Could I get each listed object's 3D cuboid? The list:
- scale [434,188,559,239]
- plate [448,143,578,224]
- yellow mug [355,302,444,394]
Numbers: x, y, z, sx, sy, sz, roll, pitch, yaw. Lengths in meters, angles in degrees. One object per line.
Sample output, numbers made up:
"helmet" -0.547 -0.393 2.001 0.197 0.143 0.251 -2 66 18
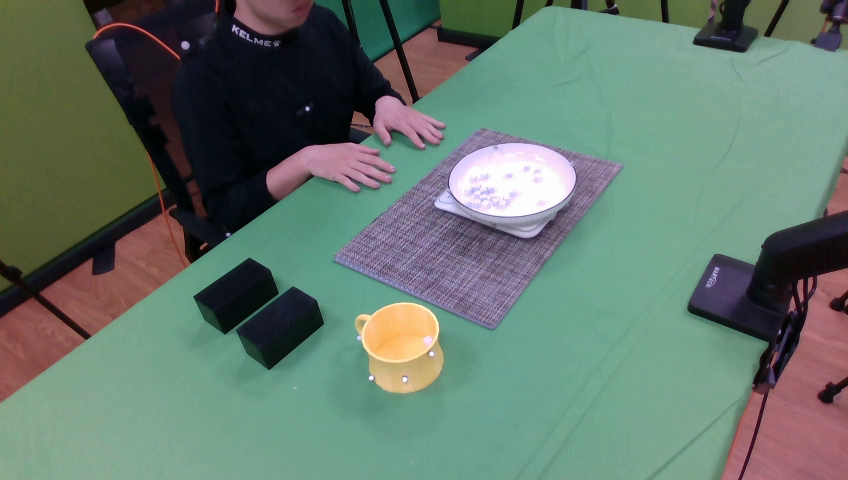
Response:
"scale" 0.132 -0.075 1.025 0.199 0.032 0.149 22 48 30
"plate" 0.145 -0.089 0.989 0.209 0.038 0.208 -4 41 4
"yellow mug" -0.040 0.133 0.786 0.130 0.064 0.100 20 47 29
